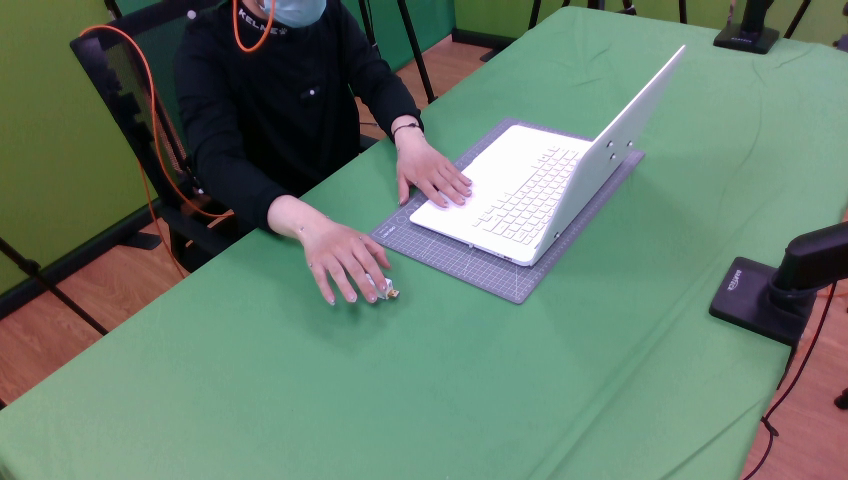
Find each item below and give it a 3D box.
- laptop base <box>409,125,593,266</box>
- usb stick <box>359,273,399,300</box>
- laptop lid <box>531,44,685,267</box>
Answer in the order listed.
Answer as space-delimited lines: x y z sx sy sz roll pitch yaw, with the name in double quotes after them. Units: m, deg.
0.168 -0.093 1.055 0.233 0.023 0.355 20 47 33 "laptop base"
-0.065 0.070 0.892 0.059 0.027 0.021 17 47 19 "usb stick"
0.279 -0.128 0.906 0.013 0.242 0.357 34 52 17 "laptop lid"
